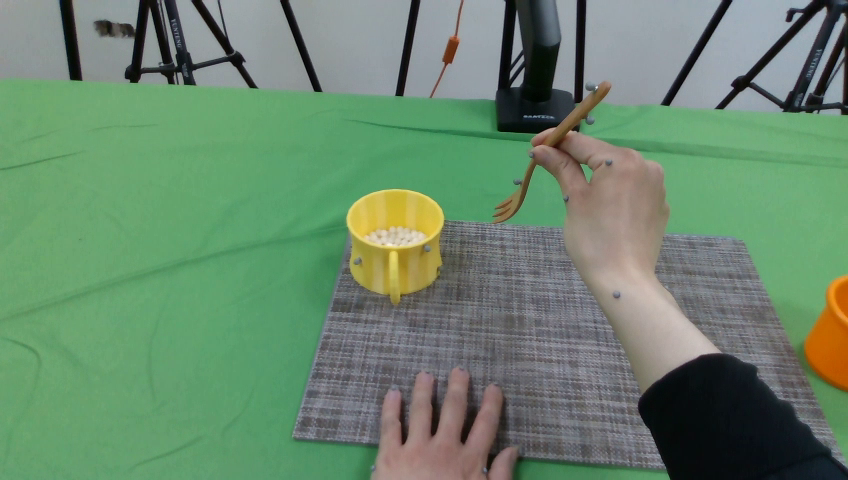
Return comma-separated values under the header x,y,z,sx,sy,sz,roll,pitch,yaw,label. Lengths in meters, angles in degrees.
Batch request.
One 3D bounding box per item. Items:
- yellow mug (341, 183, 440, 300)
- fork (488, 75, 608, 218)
x,y,z,sx,sy,sz,roll,pitch,yaw,label
-0.034,0.005,0.623,0.100,0.064,0.129,-1,42,-3,yellow mug
0.093,-0.068,0.494,0.018,0.208,0.028,19,64,-5,fork
